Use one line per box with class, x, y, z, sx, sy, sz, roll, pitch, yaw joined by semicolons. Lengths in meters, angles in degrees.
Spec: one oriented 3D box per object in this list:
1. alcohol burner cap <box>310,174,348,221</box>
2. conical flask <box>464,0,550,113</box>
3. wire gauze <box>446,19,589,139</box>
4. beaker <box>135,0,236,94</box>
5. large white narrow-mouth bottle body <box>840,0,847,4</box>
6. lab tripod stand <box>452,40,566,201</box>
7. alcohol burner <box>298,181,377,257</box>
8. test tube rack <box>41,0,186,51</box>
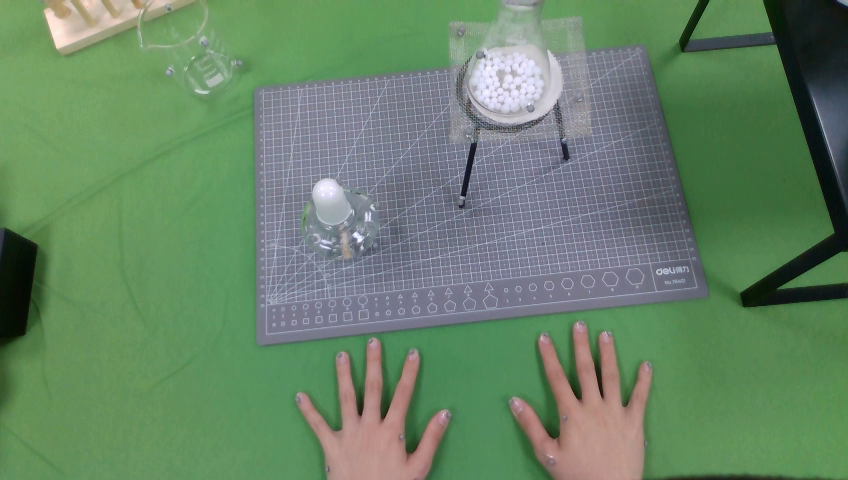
alcohol burner cap;-0.088;-0.041;0.549;0.034;0.048;0.033;0;65;0
conical flask;0.070;-0.161;0.477;0.075;0.122;0.075;-1;71;2
wire gauze;0.081;-0.146;0.534;0.121;0.011;0.124;0;69;0
beaker;-0.258;-0.213;0.663;0.073;0.101;0.084;40;78;15
large white narrow-mouth bottle body;0.361;-0.259;0.411;0.102;0.196;0.101;-1;69;2
lab tripod stand;0.077;-0.119;0.595;0.148;0.132;0.147;0;70;1
alcohol burner;-0.085;-0.027;0.583;0.078;0.120;0.077;0;70;1
test tube rack;-0.344;-0.319;0.710;0.242;0.086;0.066;-25;72;-6
